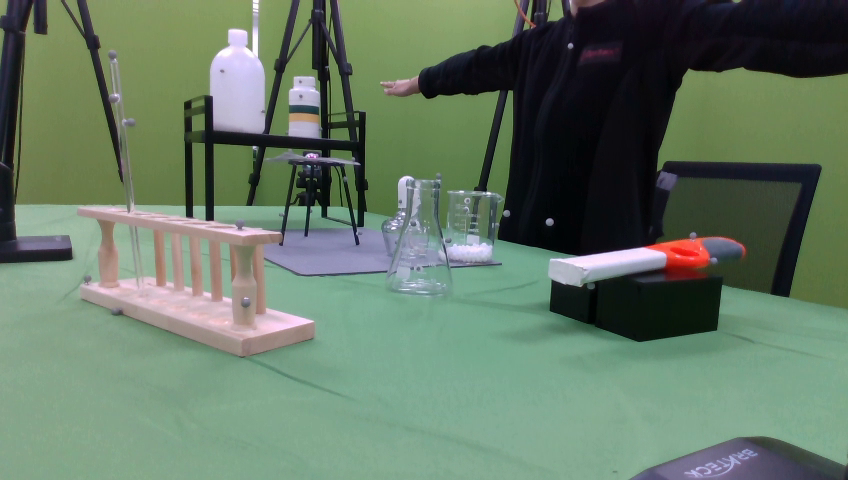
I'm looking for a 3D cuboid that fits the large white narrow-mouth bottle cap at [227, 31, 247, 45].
[{"bbox_3d":[-0.361,-0.388,1.165,0.038,0.024,0.037,1,7,0],"label":"large white narrow-mouth bottle cap"}]

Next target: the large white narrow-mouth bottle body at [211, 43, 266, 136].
[{"bbox_3d":[-0.361,-0.302,1.176,0.102,0.194,0.102,1,7,0],"label":"large white narrow-mouth bottle body"}]

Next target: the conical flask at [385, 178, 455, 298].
[{"bbox_3d":[-0.002,-0.004,0.639,0.075,0.122,0.075,2,7,0],"label":"conical flask"}]

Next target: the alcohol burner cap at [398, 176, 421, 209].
[{"bbox_3d":[-0.023,-0.068,0.866,0.034,0.048,0.034,-5,8,1],"label":"alcohol burner cap"}]

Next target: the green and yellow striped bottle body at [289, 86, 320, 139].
[{"bbox_3d":[-0.249,-0.272,1.259,0.063,0.119,0.063,2,8,0],"label":"green and yellow striped bottle body"}]

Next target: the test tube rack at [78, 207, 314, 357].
[{"bbox_3d":[-0.197,0.023,0.499,0.241,0.085,0.067,8,9,37],"label":"test tube rack"}]

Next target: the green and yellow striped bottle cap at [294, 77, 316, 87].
[{"bbox_3d":[-0.247,-0.326,1.251,0.045,0.020,0.045,-1,10,0],"label":"green and yellow striped bottle cap"}]

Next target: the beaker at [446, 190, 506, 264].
[{"bbox_3d":[0.071,-0.019,0.855,0.084,0.100,0.074,3,8,-1],"label":"beaker"}]

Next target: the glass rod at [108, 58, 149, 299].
[{"bbox_3d":[-0.240,-0.044,0.492,0.008,0.199,0.008,-1,15,0],"label":"glass rod"}]

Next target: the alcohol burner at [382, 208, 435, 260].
[{"bbox_3d":[-0.023,-0.032,0.872,0.078,0.119,0.078,1,6,0],"label":"alcohol burner"}]

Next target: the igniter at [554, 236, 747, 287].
[{"bbox_3d":[0.221,0.017,0.558,0.278,0.025,0.057,-5,15,-39],"label":"igniter"}]

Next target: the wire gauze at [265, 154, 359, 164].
[{"bbox_3d":[-0.181,-0.129,0.969,0.126,0.011,0.121,-1,7,-27],"label":"wire gauze"}]

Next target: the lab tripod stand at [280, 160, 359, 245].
[{"bbox_3d":[-0.176,-0.062,0.973,0.148,0.131,0.148,1,7,0],"label":"lab tripod stand"}]
